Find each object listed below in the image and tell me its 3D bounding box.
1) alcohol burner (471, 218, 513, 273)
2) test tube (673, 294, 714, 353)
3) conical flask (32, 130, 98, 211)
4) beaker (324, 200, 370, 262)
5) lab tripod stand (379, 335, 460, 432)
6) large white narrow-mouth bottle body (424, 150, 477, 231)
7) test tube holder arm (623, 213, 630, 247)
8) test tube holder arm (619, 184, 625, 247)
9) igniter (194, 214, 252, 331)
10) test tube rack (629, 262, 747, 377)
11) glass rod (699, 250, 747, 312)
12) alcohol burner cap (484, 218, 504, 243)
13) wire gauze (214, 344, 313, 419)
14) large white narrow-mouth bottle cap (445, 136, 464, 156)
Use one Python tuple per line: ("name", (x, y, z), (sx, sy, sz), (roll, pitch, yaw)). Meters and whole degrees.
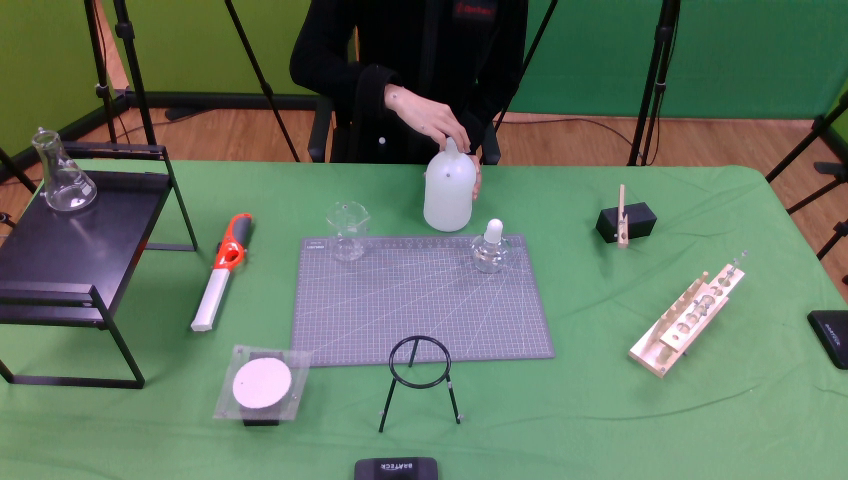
("alcohol burner", (0.128, 0.005, 1.132), (0.078, 0.120, 0.077), (0, 47, 0))
("test tube", (0.428, 0.137, 0.978), (0.017, 0.151, 0.017), (4, 47, -4))
("conical flask", (-0.565, -0.110, 0.944), (0.075, 0.122, 0.075), (2, 46, -2))
("beaker", (-0.143, -0.015, 1.142), (0.084, 0.101, 0.073), (1, 46, -4))
("lab tripod stand", (-0.011, 0.214, 0.911), (0.148, 0.132, 0.147), (1, 45, 0))
("large white narrow-mouth bottle body", (0.054, -0.115, 1.191), (0.102, 0.195, 0.101), (2, 46, -2))
("test tube holder arm", (0.393, -0.020, 1.179), (0.010, 0.015, 0.087), (13, 46, 2))
("test tube holder arm", (0.396, -0.052, 1.210), (0.013, 0.015, 0.177), (14, 46, 3))
("igniter", (-0.367, 0.050, 1.119), (0.057, 0.025, 0.275), (-4, 45, 7))
("test tube rack", (0.464, 0.126, 1.061), (0.242, 0.085, 0.066), (-34, 56, -31))
("glass rod", (0.500, 0.075, 1.021), (0.008, 0.201, 0.008), (0, 55, 1))
("alcohol burner cap", (0.130, -0.021, 1.106), (0.034, 0.048, 0.033), (3, 51, -4))
("wire gauze", (-0.241, 0.213, 0.916), (0.121, 0.011, 0.124), (5, 46, 1))
("large white narrow-mouth bottle cap", (0.058, -0.175, 1.127), (0.038, 0.024, 0.037), (2, 46, -2))
